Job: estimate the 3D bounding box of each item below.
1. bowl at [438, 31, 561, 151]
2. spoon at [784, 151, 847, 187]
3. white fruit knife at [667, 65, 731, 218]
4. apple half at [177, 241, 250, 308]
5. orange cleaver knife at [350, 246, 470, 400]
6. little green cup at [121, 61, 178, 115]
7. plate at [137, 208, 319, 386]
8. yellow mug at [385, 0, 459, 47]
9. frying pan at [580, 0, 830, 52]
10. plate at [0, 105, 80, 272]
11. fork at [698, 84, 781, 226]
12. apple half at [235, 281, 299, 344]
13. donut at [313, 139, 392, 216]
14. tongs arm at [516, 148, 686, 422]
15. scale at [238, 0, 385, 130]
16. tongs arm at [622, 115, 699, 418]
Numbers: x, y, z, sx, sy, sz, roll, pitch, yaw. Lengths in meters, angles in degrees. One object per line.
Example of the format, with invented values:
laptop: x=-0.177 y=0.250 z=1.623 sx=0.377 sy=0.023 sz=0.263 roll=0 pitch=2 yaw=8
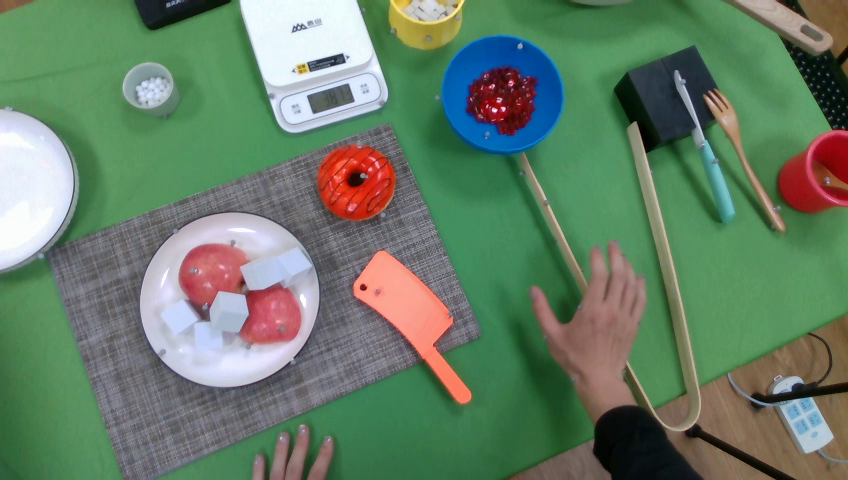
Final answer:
bowl: x=0.089 y=-0.176 z=0.766 sx=0.151 sy=0.077 sz=0.151 roll=1 pitch=81 yaw=-3
spoon: x=0.524 y=-0.062 z=0.737 sx=0.041 sy=0.022 sz=0.191 roll=-28 pitch=38 yaw=-8
white fruit knife: x=0.349 y=-0.124 z=0.771 sx=0.016 sy=0.027 sz=0.208 roll=-25 pitch=97 yaw=-7
apple half: x=-0.251 y=0.036 z=0.711 sx=0.074 sy=0.053 sz=0.080 roll=21 pitch=79 yaw=4
orange cleaver knife: x=-0.005 y=0.099 z=0.738 sx=0.077 sy=0.012 sz=0.211 roll=-41 pitch=83 yaw=-14
little green cup: x=-0.344 y=-0.189 z=0.764 sx=0.061 sy=0.039 sz=0.061 roll=1 pitch=80 yaw=-3
plate: x=-0.228 y=0.066 z=0.722 sx=0.209 sy=0.038 sz=0.208 roll=1 pitch=80 yaw=-3
yellow mug: x=-0.015 y=-0.323 z=0.792 sx=0.130 sy=0.064 sz=0.100 roll=34 pitch=80 yaw=4
frying pan: x=0.311 y=-0.389 z=0.802 sx=0.485 sy=0.103 sz=0.306 roll=39 pitch=81 yaw=12
plate: x=-0.520 y=-0.059 z=0.732 sx=0.208 sy=0.039 sz=0.207 roll=1 pitch=80 yaw=-3
fork: x=0.409 y=-0.107 z=0.779 sx=0.028 sy=0.018 sz=0.208 roll=-32 pitch=99 yaw=-11
apple half: x=-0.190 y=0.085 z=0.714 sx=0.081 sy=0.033 sz=0.081 roll=0 pitch=82 yaw=1
donut: x=-0.089 y=-0.077 z=0.752 sx=0.099 sy=0.048 sz=0.098 roll=0 pitch=81 yaw=-1
tongs arm: x=0.217 y=0.052 z=0.756 sx=0.051 sy=0.026 sz=0.383 roll=-22 pitch=83 yaw=-12
scale: x=-0.147 y=-0.253 z=0.790 sx=0.149 sy=0.031 sz=0.200 roll=-18 pitch=82 yaw=-6
tongs arm: x=0.297 y=0.027 z=0.769 sx=0.028 sy=0.028 sz=0.386 roll=-7 pitch=81 yaw=-13
